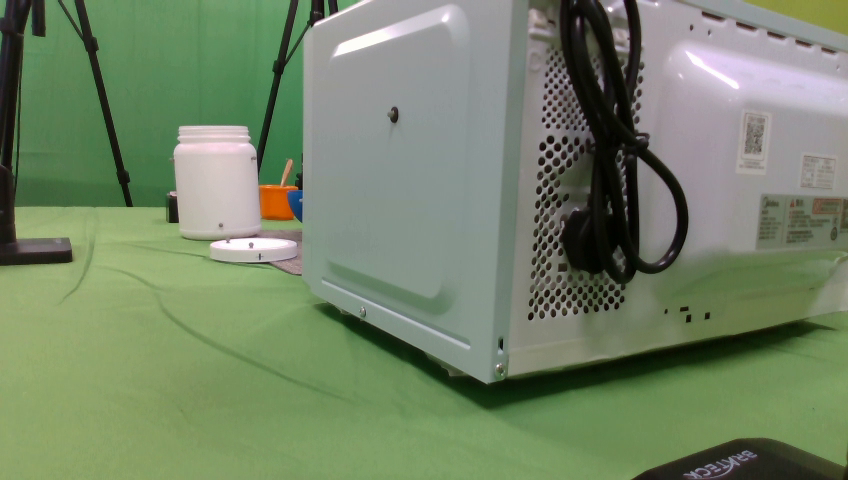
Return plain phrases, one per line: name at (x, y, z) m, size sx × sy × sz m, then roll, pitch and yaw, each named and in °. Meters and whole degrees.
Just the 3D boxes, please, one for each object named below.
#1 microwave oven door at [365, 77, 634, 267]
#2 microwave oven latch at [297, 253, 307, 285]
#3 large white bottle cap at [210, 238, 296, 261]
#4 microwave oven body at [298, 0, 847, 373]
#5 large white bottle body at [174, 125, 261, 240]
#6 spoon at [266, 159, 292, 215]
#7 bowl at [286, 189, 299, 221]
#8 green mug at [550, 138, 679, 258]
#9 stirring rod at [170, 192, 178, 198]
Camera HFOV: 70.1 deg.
microwave oven door at (0.093, -0.099, 0.827) m, size 0.355 × 0.243 × 0.039 m, roll 4°, pitch 7°, yaw 17°
microwave oven latch at (-0.082, 0.027, 0.582) m, size 0.079 × 0.029 × 0.030 m, roll -1°, pitch 7°, yaw -32°
large white bottle cap at (-0.236, 0.012, 0.839) m, size 0.115 × 0.018 × 0.115 m, roll 2°, pitch 7°, yaw 0°
microwave oven body at (0.151, -0.055, 0.543) m, size 0.444 × 0.260 × 0.324 m, roll -1°, pitch 7°, yaw -33°
large white bottle body at (-0.349, -0.100, 1.024) m, size 0.131 × 0.184 × 0.130 m, roll -1°, pitch 9°, yaw 0°
spoon at (-0.334, -0.127, 1.424) m, size 0.041 × 0.193 × 0.022 m, roll 0°, pitch -38°, yaw 7°
bowl at (-0.179, -0.051, 1.114) m, size 0.151 × 0.077 × 0.151 m, roll 3°, pitch 8°, yaw 0°
green mug at (0.177, -0.036, 0.581) m, size 0.124 × 0.105 × 0.093 m, roll -3°, pitch -1°, yaw 42°
stirring rod at (-0.465, -0.098, 1.283) m, size 0.014 × 0.006 × 0.177 m, roll 42°, pitch 21°, yaw 17°
